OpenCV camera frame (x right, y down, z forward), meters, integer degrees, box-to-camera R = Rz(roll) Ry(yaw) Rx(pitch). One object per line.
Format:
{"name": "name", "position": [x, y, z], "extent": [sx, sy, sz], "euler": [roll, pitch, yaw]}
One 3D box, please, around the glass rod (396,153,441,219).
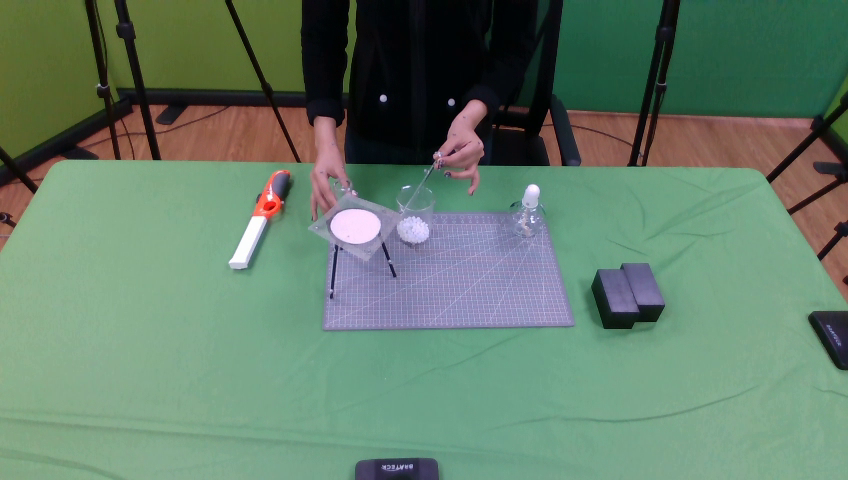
{"name": "glass rod", "position": [-0.013, -0.097, 1.129], "extent": [0.008, 0.200, 0.008], "euler": [15, 52, -19]}

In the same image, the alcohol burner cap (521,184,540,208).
{"name": "alcohol burner cap", "position": [0.210, -0.087, 1.183], "extent": [0.034, 0.048, 0.033], "euler": [1, 52, -1]}

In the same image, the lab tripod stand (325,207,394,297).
{"name": "lab tripod stand", "position": [-0.124, 0.017, 1.092], "extent": [0.148, 0.132, 0.147], "euler": [3, 44, -3]}

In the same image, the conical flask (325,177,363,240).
{"name": "conical flask", "position": [-0.158, -0.064, 1.176], "extent": [0.075, 0.122, 0.075], "euler": [2, 46, -2]}

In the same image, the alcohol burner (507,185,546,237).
{"name": "alcohol burner", "position": [0.208, -0.063, 1.210], "extent": [0.078, 0.119, 0.077], "euler": [3, 44, -3]}

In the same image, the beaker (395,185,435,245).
{"name": "beaker", "position": [-0.022, -0.048, 1.187], "extent": [0.074, 0.101, 0.083], "euler": [-28, 54, -28]}

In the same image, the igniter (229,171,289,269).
{"name": "igniter", "position": [-0.328, -0.049, 1.218], "extent": [0.057, 0.025, 0.275], "euler": [1, 45, 11]}

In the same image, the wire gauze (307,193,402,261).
{"name": "wire gauze", "position": [-0.118, -0.028, 1.043], "extent": [0.125, 0.011, 0.121], "euler": [24, 47, 17]}
